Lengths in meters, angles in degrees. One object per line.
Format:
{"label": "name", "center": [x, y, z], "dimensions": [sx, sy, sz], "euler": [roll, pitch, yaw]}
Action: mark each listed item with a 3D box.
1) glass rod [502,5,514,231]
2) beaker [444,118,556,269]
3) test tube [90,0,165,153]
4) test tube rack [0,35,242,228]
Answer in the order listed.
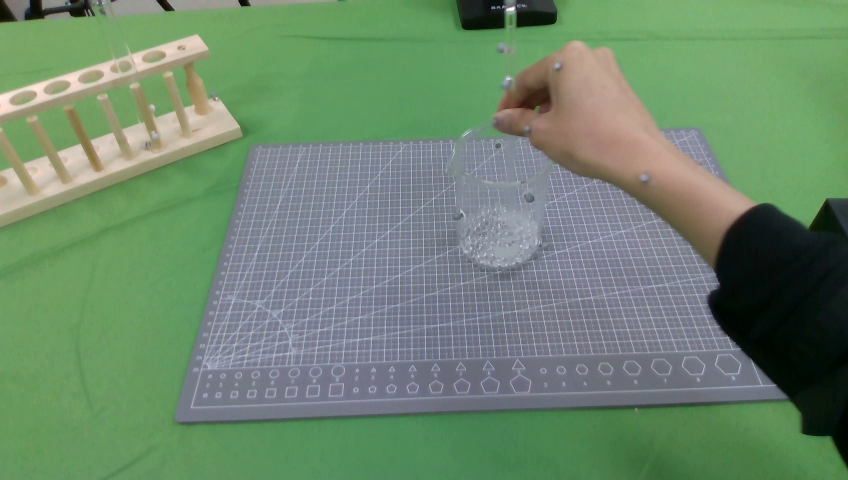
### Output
{"label": "glass rod", "center": [0.060, -0.074, 0.440], "dimensions": [0.008, 0.201, 0.008], "euler": [-3, 49, 4]}
{"label": "beaker", "center": [0.057, -0.032, 0.474], "dimensions": [0.084, 0.101, 0.073], "euler": [-16, 48, -11]}
{"label": "test tube", "center": [-0.261, -0.142, 0.539], "dimensions": [0.017, 0.151, 0.017], "euler": [0, 45, 1]}
{"label": "test tube rack", "center": [-0.307, -0.104, 0.568], "dimensions": [0.242, 0.086, 0.066], "euler": [-26, 52, -20]}
